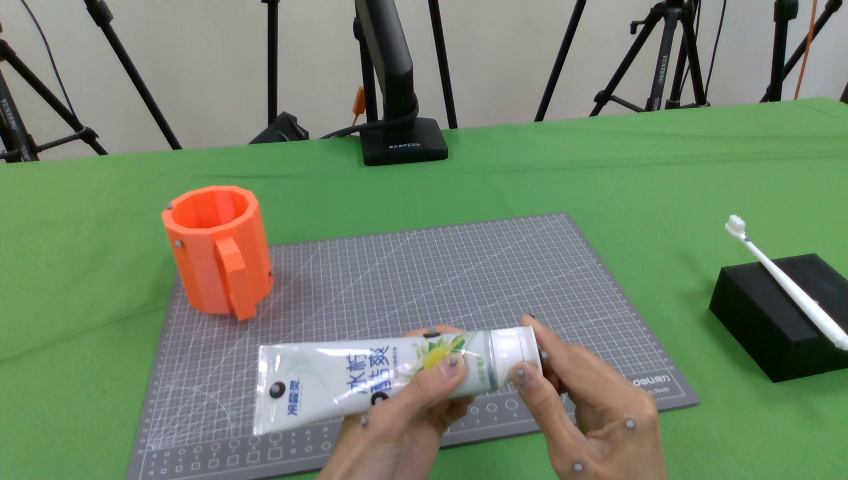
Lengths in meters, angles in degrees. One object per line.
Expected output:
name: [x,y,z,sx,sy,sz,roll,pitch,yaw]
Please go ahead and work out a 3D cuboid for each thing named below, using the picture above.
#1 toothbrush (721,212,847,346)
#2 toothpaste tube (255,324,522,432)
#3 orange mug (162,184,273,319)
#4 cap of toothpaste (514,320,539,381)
toothbrush: [0.319,0.028,0.545,0.014,0.017,0.180,-1,35,-8]
toothpaste tube: [-0.019,0.074,0.357,0.165,0.035,0.054,-9,55,3]
orange mug: [-0.192,0.015,0.583,0.083,0.101,0.125,-18,35,-23]
cap of toothpaste: [0.059,0.064,0.350,0.011,0.038,0.037,-10,36,2]
